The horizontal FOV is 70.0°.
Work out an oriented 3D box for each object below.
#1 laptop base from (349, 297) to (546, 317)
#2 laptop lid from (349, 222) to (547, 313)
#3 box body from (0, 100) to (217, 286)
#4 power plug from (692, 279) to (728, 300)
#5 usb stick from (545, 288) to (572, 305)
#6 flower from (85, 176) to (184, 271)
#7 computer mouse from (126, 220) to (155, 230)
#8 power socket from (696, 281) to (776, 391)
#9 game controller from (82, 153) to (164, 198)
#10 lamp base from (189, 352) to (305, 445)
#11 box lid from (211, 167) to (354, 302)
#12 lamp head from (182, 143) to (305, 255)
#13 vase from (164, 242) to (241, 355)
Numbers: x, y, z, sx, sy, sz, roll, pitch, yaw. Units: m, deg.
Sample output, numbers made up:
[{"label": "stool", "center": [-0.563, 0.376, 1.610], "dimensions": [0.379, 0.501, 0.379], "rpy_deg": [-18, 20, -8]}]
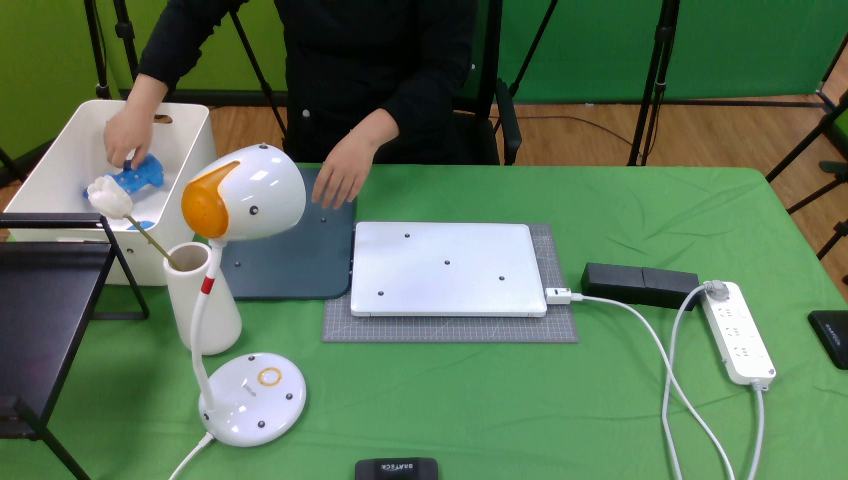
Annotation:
[{"label": "laptop base", "center": [0.041, 0.055, 1.149], "dimensions": [0.355, 0.023, 0.234], "rpy_deg": [1, 42, -4]}, {"label": "laptop lid", "center": [0.041, 0.046, 1.143], "dimensions": [0.357, 0.013, 0.240], "rpy_deg": [2, 44, -3]}, {"label": "box body", "center": [-0.559, -0.092, 1.145], "dimensions": [0.254, 0.161, 0.361], "rpy_deg": [3, 46, -2]}, {"label": "power plug", "center": [0.522, 0.091, 1.116], "dimensions": [0.072, 0.053, 0.035], "rpy_deg": [10, 47, 8]}, {"label": "usb stick", "center": [0.236, 0.102, 1.101], "dimensions": [0.059, 0.027, 0.021], "rpy_deg": [-2, 47, 2]}, {"label": "flower", "center": [-0.365, 0.038, 0.894], "dimensions": [0.038, 0.364, 0.044], "rpy_deg": [-5, 53, 15]}, {"label": "computer mouse", "center": [-0.537, 0.008, 1.127], "dimensions": [0.062, 0.041, 0.117], "rpy_deg": [32, 56, 20]}, {"label": "power socket", "center": [0.550, 0.160, 1.078], "dimensions": [0.072, 0.033, 0.225], "rpy_deg": [2, 46, -1]}, {"label": "game controller", "center": [-0.596, -0.119, 1.209], "dimensions": [0.096, 0.052, 0.155], "rpy_deg": [41, 64, 21]}, {"label": "lamp base", "center": [-0.268, 0.196, 0.876], "dimensions": [0.160, 0.181, 0.179], "rpy_deg": [26, 52, 20]}, {"label": "box lid", "center": [-0.276, -0.024, 1.205], "dimensions": [0.263, 0.015, 0.369], "rpy_deg": [0, 46, -4]}, {"label": "lamp head", "center": [-0.216, -0.044, 0.697], "dimensions": [0.112, 0.113, 0.123], "rpy_deg": [23, 31, 17]}, {"label": "vase", "center": [-0.349, 0.096, 0.954], "dimensions": [0.098, 0.201, 0.097], "rpy_deg": [3, 47, -3]}]
